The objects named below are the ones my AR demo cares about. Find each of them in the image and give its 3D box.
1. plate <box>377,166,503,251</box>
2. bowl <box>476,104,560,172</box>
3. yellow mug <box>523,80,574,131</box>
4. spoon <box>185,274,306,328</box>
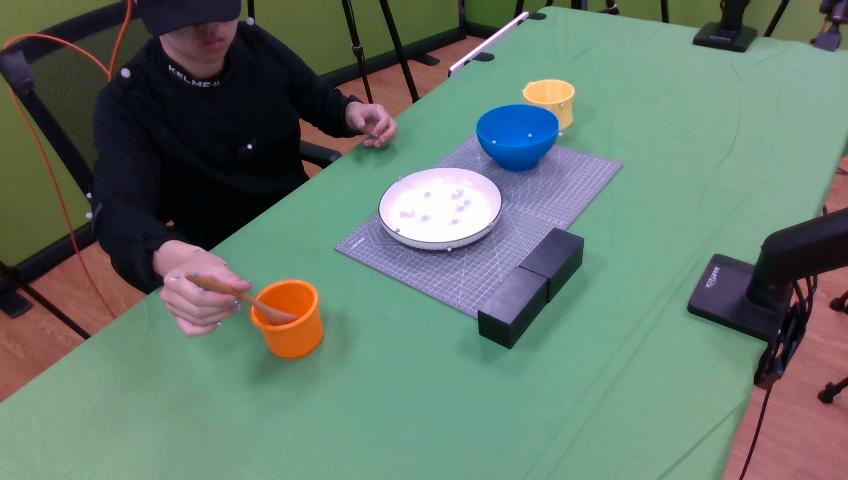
[{"bbox_3d":[0.027,-0.050,1.007,0.209,0.038,0.208,-4,41,4],"label":"plate"},{"bbox_3d":[0.171,-0.178,1.105,0.151,0.077,0.150,-4,40,4],"label":"bowl"},{"bbox_3d":[0.242,-0.278,1.224,0.100,0.064,0.129,-24,42,-18],"label":"yellow mug"},{"bbox_3d":[-0.216,0.077,0.745,0.041,0.195,0.021,-20,55,24],"label":"spoon"}]
